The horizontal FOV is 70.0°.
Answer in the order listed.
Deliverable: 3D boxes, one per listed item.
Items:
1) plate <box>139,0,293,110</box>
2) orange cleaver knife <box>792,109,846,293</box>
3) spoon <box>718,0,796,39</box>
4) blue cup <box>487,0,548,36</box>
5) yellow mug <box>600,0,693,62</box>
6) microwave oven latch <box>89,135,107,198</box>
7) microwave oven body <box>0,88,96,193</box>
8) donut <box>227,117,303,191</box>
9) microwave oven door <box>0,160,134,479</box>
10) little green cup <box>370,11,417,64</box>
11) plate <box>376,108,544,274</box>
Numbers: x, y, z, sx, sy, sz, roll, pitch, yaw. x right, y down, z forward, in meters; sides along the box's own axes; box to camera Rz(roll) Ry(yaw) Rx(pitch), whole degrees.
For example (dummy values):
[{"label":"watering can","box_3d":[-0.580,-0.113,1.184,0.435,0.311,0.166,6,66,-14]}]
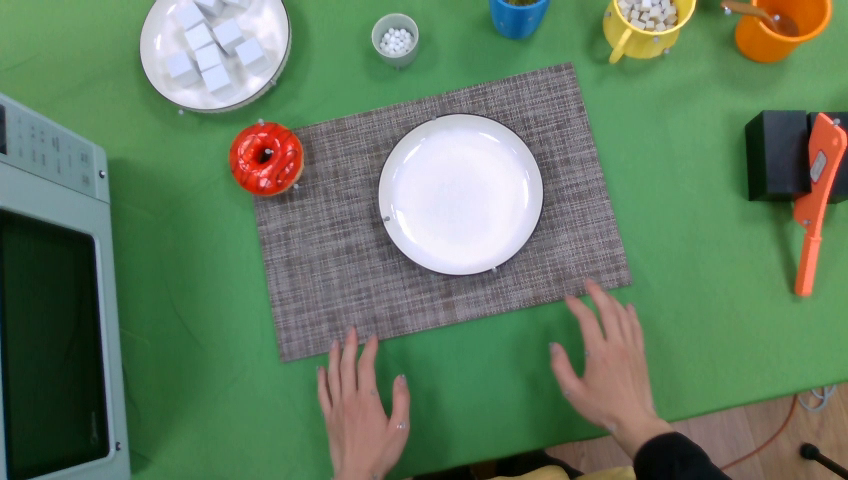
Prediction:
[{"label":"plate","box_3d":[-0.277,-0.272,0.822,0.207,0.039,0.207,-1,81,5]},{"label":"orange cleaver knife","box_3d":[0.450,-0.043,0.705,0.012,0.077,0.212,2,111,7]},{"label":"spoon","box_3d":[0.393,-0.267,0.711,0.021,0.195,0.041,-25,75,46]},{"label":"blue cup","box_3d":[0.117,-0.308,0.764,0.092,0.100,0.092,0,82,4]},{"label":"yellow mug","box_3d":[0.271,-0.281,0.765,0.099,0.064,0.131,35,87,9]},{"label":"microwave oven latch","box_3d":[-0.434,-0.094,0.788,0.030,0.029,0.079,-8,81,3]},{"label":"microwave oven body","box_3d":[-0.560,0.088,0.673,0.326,0.261,0.440,-10,81,3]},{"label":"donut","box_3d":[-0.206,-0.111,0.785,0.099,0.048,0.098,-1,83,6]},{"label":"microwave oven door","box_3d":[-0.409,0.103,0.654,0.039,0.245,0.354,-10,80,3]},{"label":"little green cup","box_3d":[-0.038,-0.266,0.802,0.061,0.039,0.061,-1,80,5]},{"label":"plate","box_3d":[0.044,-0.060,0.760,0.209,0.038,0.208,-1,81,5]}]
